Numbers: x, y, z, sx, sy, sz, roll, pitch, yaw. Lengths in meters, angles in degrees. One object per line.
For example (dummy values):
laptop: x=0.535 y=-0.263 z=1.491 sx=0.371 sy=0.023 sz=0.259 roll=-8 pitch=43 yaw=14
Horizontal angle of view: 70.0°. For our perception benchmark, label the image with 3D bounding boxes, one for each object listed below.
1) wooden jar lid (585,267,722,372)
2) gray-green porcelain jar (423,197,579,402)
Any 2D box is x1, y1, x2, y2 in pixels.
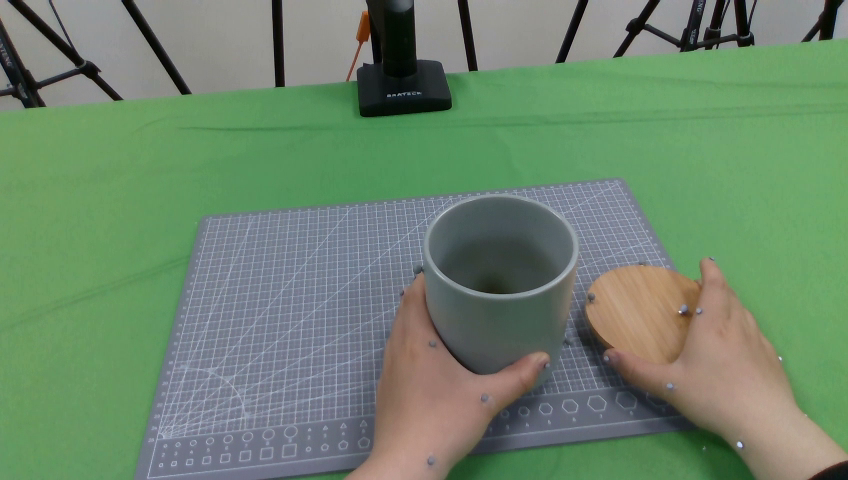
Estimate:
wooden jar lid: x=0.188 y=0.067 z=0.502 sx=0.108 sy=0.021 sz=0.107 roll=-2 pitch=41 yaw=2
gray-green porcelain jar: x=0.054 y=0.049 z=0.448 sx=0.106 sy=0.127 sz=0.105 roll=-2 pitch=43 yaw=2
